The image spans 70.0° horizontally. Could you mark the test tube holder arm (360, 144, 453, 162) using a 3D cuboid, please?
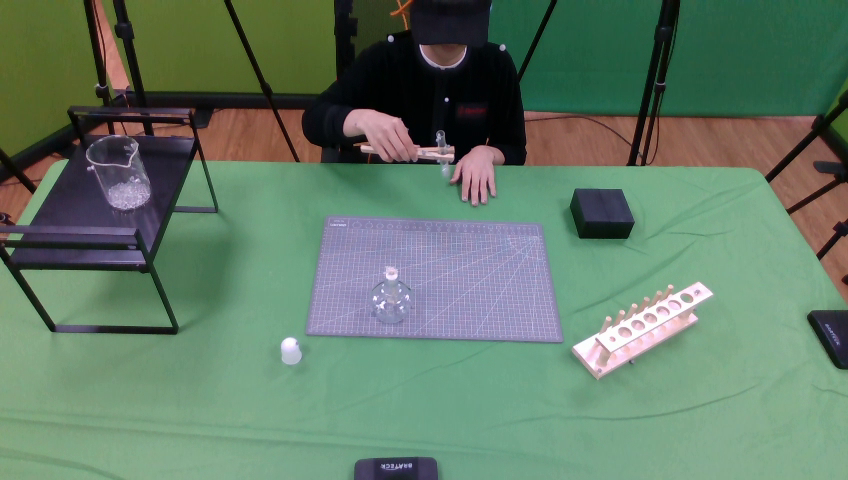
[{"bbox_3d":[-0.033,-0.164,1.134,0.178,0.015,0.013,7,61,8],"label":"test tube holder arm"}]

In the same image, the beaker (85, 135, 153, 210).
[{"bbox_3d":[-0.475,-0.102,0.957,0.083,0.101,0.074,34,53,26],"label":"beaker"}]

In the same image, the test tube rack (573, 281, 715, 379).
[{"bbox_3d":[0.378,0.140,1.038,0.242,0.085,0.066,-22,51,-23],"label":"test tube rack"}]

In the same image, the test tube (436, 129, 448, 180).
[{"bbox_3d":[0.035,-0.157,1.133,0.017,0.151,0.017,-2,63,4],"label":"test tube"}]

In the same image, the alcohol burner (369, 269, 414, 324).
[{"bbox_3d":[-0.056,0.089,1.037,0.078,0.120,0.077,1,48,-1],"label":"alcohol burner"}]

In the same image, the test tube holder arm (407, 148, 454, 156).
[{"bbox_3d":[0.012,-0.165,1.131,0.088,0.015,0.010,0,61,5],"label":"test tube holder arm"}]

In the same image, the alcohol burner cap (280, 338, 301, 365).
[{"bbox_3d":[-0.220,0.179,0.993,0.034,0.048,0.033,2,46,-2],"label":"alcohol burner cap"}]
